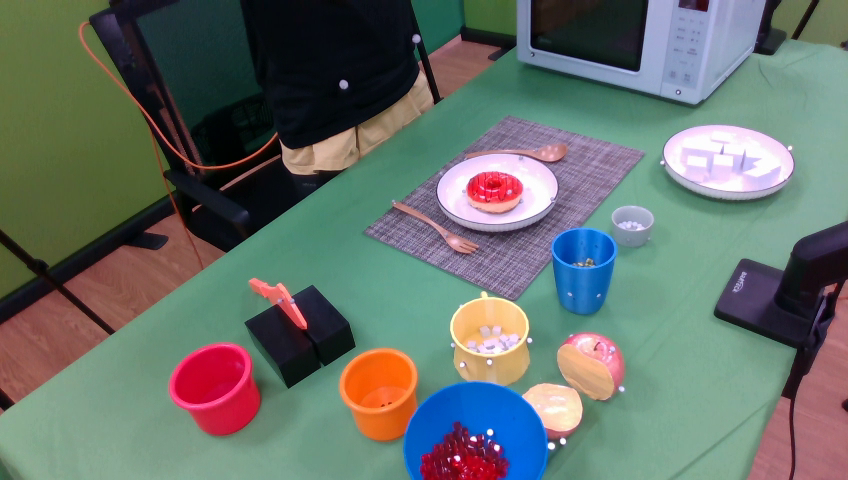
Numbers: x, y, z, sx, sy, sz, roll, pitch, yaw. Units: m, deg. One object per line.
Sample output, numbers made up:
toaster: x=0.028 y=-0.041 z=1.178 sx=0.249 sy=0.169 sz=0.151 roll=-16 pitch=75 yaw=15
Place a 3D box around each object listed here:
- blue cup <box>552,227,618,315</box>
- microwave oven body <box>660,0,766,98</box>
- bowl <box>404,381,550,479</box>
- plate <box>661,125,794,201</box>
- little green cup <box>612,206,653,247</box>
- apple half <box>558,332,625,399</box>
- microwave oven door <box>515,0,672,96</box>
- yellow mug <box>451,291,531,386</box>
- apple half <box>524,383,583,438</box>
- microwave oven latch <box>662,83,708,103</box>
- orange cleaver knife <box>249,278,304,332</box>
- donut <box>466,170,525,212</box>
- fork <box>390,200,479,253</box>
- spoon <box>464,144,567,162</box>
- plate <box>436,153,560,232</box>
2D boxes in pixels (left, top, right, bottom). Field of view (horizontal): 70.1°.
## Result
blue cup: x=0.218 y=0.047 z=0.825 sx=0.092 sy=0.100 sz=0.092 roll=-6 pitch=39 yaw=5
microwave oven body: x=0.472 y=-0.513 z=1.317 sx=0.438 sy=0.261 sz=0.327 roll=26 pitch=51 yaw=34
bowl: x=0.058 y=0.235 z=0.645 sx=0.151 sy=0.077 sz=0.150 roll=-4 pitch=39 yaw=4
plate: x=0.513 y=-0.128 z=1.035 sx=0.207 sy=0.039 sz=0.206 roll=-4 pitch=40 yaw=4
little green cup: x=0.321 y=-0.019 z=0.936 sx=0.061 sy=0.039 sz=0.061 roll=-4 pitch=40 yaw=4
apple half: x=0.209 y=0.147 z=0.731 sx=0.080 sy=0.075 sz=0.053 roll=25 pitch=46 yaw=38
microwave oven door: x=0.344 y=-0.455 z=1.259 sx=0.353 sy=0.245 sz=0.039 roll=26 pitch=51 yaw=33
yellow mug: x=0.086 y=0.120 z=0.786 sx=0.100 sy=0.064 sz=0.130 roll=-7 pitch=39 yaw=2
apple half: x=0.149 y=0.204 z=0.704 sx=0.081 sy=0.033 sz=0.081 roll=-10 pitch=25 yaw=5
microwave oven latch: x=0.518 y=-0.297 z=1.205 sx=0.078 sy=0.029 sz=0.030 roll=29 pitch=53 yaw=36
orange cleaver knife: x=-0.210 y=0.089 z=0.855 sx=0.012 sy=0.077 sz=0.210 roll=-27 pitch=14 yaw=-25
donut: x=0.121 y=-0.083 z=1.019 sx=0.099 sy=0.048 sz=0.098 roll=-4 pitch=39 yaw=4
fork: x=0.011 y=-0.025 z=0.998 sx=0.028 sy=0.019 sz=0.205 roll=-41 pitch=52 yaw=-20
spoon: x=0.170 y=-0.163 z=1.135 sx=0.193 sy=0.022 sz=0.041 roll=1 pitch=61 yaw=10
plate: x=0.125 y=-0.078 z=1.029 sx=0.209 sy=0.038 sz=0.208 roll=-4 pitch=40 yaw=4
